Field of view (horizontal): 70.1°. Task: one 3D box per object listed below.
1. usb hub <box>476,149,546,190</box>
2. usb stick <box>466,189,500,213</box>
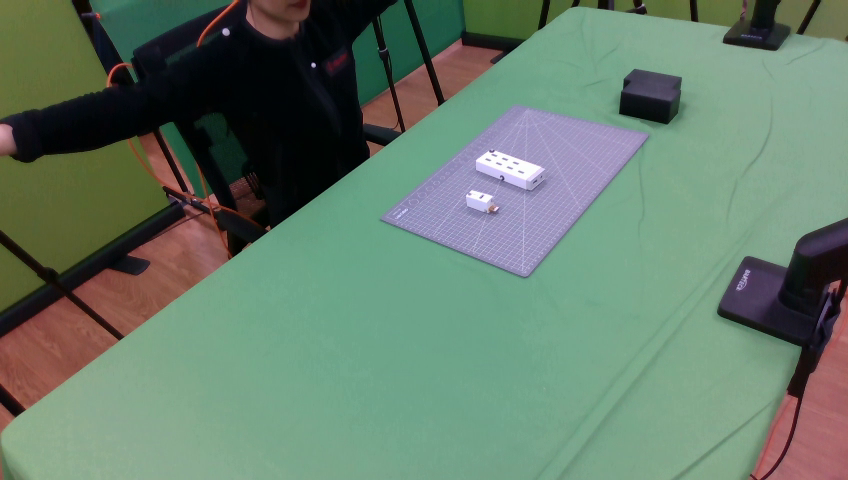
[{"bbox_3d":[0.157,-0.129,1.098,0.124,0.025,0.049,28,52,35],"label":"usb hub"},{"bbox_3d":[0.102,-0.064,1.031,0.059,0.027,0.021,24,49,30],"label":"usb stick"}]
